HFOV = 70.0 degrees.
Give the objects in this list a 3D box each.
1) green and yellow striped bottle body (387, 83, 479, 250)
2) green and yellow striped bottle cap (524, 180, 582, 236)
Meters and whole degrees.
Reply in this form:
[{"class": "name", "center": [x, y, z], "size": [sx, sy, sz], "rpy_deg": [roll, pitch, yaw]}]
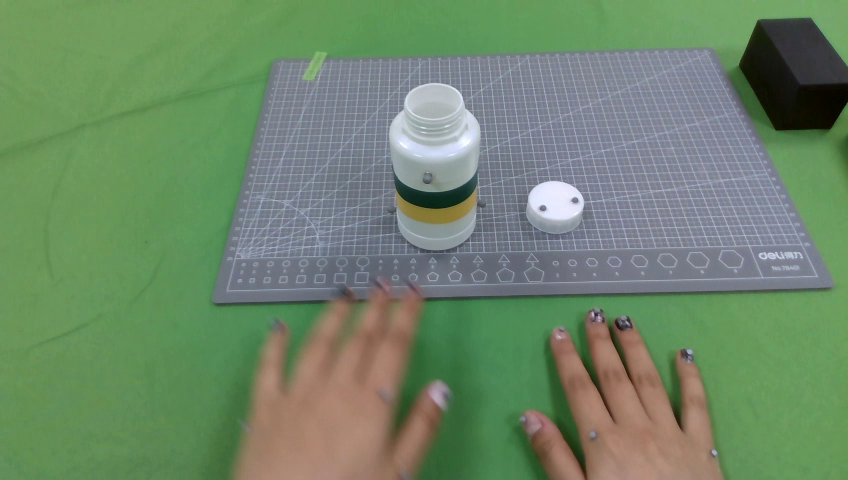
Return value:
[{"class": "green and yellow striped bottle body", "center": [0.007, -0.052, 0.435], "size": [0.063, 0.121, 0.062], "rpy_deg": [-1, 51, 2]}, {"class": "green and yellow striped bottle cap", "center": [0.102, -0.026, 0.480], "size": [0.045, 0.020, 0.045], "rpy_deg": [-1, 53, 1]}]
